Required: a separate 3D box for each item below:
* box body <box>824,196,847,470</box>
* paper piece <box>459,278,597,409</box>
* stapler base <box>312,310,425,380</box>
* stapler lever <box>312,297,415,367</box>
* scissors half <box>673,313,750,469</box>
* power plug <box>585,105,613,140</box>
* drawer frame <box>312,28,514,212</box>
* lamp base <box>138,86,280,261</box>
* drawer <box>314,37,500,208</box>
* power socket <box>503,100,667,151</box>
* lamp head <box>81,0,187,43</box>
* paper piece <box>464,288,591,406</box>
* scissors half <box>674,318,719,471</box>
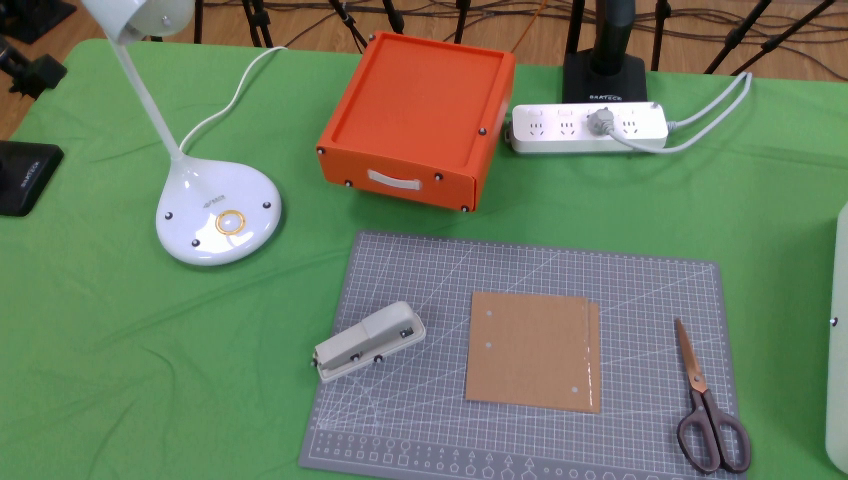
[{"bbox_3d":[0.563,0.081,0.596,0.253,0.162,0.362,17,60,13],"label":"box body"},{"bbox_3d":[0.121,0.114,0.698,0.135,0.004,0.135,11,60,17],"label":"paper piece"},{"bbox_3d":[-0.063,0.113,0.687,0.131,0.024,0.041,-23,56,-10],"label":"stapler base"},{"bbox_3d":[-0.066,0.100,0.666,0.118,0.040,0.026,-23,56,-10],"label":"stapler lever"},{"bbox_3d":[0.301,0.155,0.648,0.040,0.013,0.173,-8,56,-7],"label":"scissors half"},{"bbox_3d":[0.232,-0.149,0.811,0.035,0.053,0.072,10,58,9],"label":"power plug"},{"bbox_3d":[-0.007,-0.160,0.779,0.201,0.083,0.212,13,60,11],"label":"drawer frame"},{"bbox_3d":[-0.283,-0.090,0.737,0.177,0.182,0.160,35,65,26],"label":"lamp base"},{"bbox_3d":[-0.008,-0.156,0.774,0.194,0.074,0.210,13,58,12],"label":"drawer"},{"bbox_3d":[0.225,-0.161,0.847,0.227,0.033,0.071,0,58,3],"label":"power socket"},{"bbox_3d":[-0.249,-0.239,0.486,0.123,0.112,0.112,46,64,-15],"label":"lamp head"},{"bbox_3d":[0.117,0.116,0.684,0.136,0.009,0.137,2,59,9],"label":"paper piece"},{"bbox_3d":[0.281,0.156,0.647,0.040,0.013,0.173,9,54,-2],"label":"scissors half"}]
